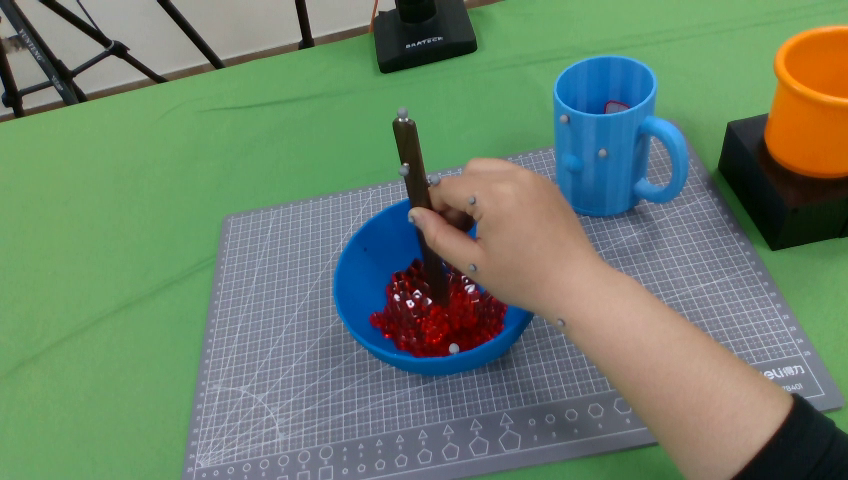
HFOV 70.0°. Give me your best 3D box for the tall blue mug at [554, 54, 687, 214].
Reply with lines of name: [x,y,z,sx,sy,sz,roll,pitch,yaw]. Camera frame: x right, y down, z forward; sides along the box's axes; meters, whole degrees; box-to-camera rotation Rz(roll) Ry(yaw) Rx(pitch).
tall blue mug: [0.161,-0.082,0.495,0.106,0.109,0.077,10,53,21]

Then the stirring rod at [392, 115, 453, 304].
stirring rod: [0.002,-0.010,0.394,0.014,0.178,0.006,10,53,19]

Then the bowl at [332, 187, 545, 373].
bowl: [0.016,0.040,0.447,0.151,0.077,0.150,-7,49,8]
